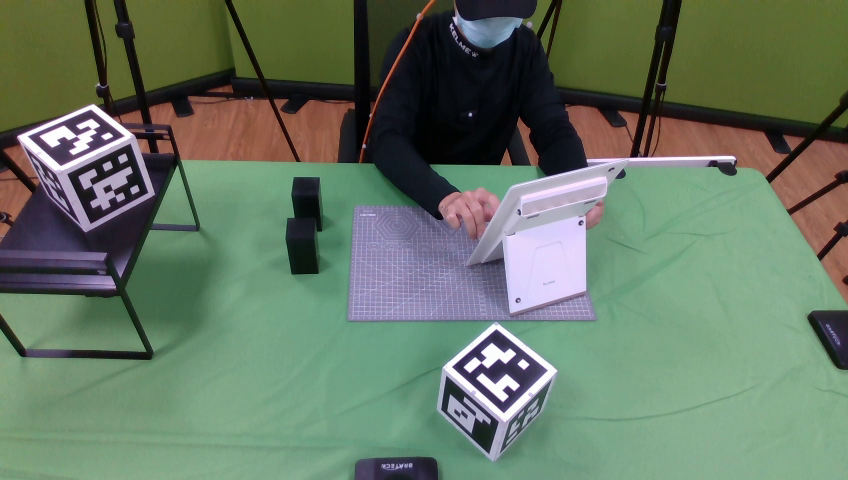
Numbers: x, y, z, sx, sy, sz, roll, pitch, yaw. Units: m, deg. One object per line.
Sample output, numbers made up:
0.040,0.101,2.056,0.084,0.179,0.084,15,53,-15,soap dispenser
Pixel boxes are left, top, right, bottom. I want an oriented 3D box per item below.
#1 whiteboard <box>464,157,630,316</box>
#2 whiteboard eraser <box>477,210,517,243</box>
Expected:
0.224,0.015,1.042,0.217,0.306,0.143,-13,68,-17,whiteboard
0.130,-0.024,1.076,0.041,0.101,0.018,-7,67,-29,whiteboard eraser
